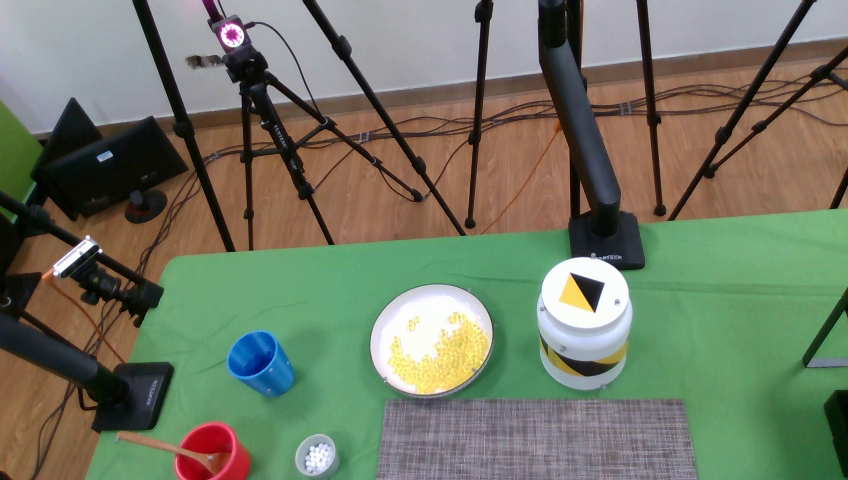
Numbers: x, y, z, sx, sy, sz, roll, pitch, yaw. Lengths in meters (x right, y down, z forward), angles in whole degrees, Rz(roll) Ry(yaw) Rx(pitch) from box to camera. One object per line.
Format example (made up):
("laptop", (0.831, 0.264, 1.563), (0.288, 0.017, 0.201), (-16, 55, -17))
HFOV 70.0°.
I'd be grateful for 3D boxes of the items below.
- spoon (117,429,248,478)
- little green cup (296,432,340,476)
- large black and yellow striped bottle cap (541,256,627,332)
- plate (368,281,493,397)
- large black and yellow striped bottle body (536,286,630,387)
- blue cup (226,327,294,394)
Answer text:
("spoon", (-0.359, 0.314, 0.906), (0.195, 0.021, 0.041), (27, 54, -22))
("little green cup", (-0.158, 0.326, 0.917), (0.061, 0.039, 0.061), (-7, 52, 9))
("large black and yellow striped bottle cap", (0.217, 0.071, 0.824), (0.115, 0.019, 0.114), (-7, 52, 9))
("plate", (0.011, 0.164, 1.003), (0.209, 0.038, 0.207), (-6, 52, 8))
("large black and yellow striped bottle body", (0.232, 0.121, 0.890), (0.130, 0.186, 0.129), (-6, 52, 9))
("blue cup", (-0.260, 0.206, 0.992), (0.092, 0.101, 0.091), (-7, 52, 10))
